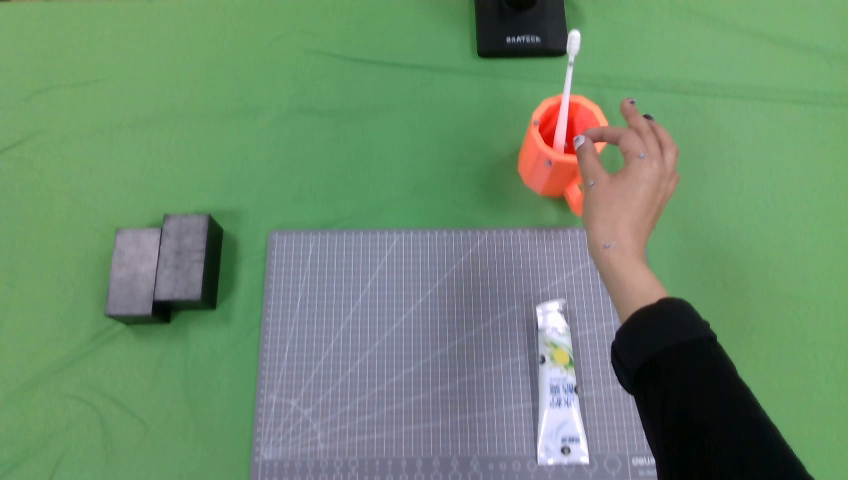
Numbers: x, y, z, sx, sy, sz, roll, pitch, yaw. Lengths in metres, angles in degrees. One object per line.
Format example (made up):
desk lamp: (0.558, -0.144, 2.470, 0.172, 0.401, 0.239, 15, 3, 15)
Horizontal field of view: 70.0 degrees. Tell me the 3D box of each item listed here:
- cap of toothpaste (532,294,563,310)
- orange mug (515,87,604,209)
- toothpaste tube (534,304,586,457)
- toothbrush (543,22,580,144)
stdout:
cap of toothpaste: (0.140, 0.071, 0.681, 0.037, 0.037, 0.011, -13, 69, -5)
orange mug: (0.164, -0.102, 0.710, 0.083, 0.101, 0.125, -21, 69, -8)
toothpaste tube: (0.142, 0.150, 0.662, 0.055, 0.035, 0.164, -4, 76, 5)
toothbrush: (0.149, -0.150, 0.682, 0.014, 0.183, 0.016, -7, 35, -19)
